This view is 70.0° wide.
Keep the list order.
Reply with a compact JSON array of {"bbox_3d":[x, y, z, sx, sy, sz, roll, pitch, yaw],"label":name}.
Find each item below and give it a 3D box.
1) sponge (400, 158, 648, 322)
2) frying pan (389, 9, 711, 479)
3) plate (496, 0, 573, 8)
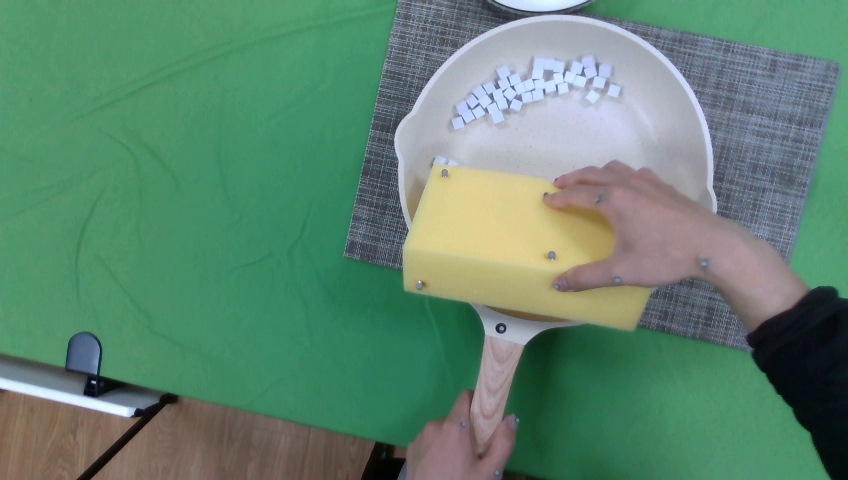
[{"bbox_3d":[0.092,-0.004,0.554,0.206,0.117,0.061,8,137,8],"label":"sponge"},{"bbox_3d":[0.090,0.030,0.590,0.306,0.103,0.487,16,86,5],"label":"frying pan"},{"bbox_3d":[0.114,-0.334,0.604,0.207,0.039,0.207,0,93,5],"label":"plate"}]
